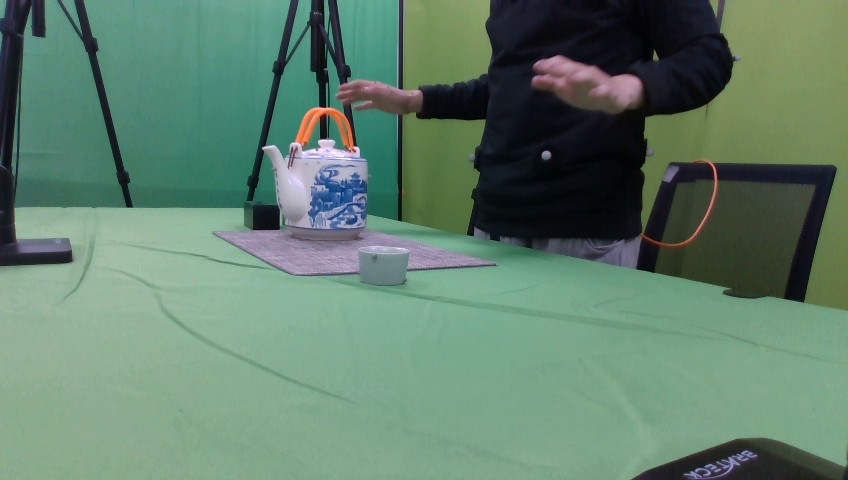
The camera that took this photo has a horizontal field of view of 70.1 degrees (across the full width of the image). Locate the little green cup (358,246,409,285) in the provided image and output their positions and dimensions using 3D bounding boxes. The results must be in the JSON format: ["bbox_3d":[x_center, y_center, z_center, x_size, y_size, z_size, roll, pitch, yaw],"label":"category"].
[{"bbox_3d":[-0.048,0.030,0.707,0.061,0.038,0.061,2,8,0],"label":"little green cup"}]

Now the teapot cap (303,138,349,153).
[{"bbox_3d":[-0.172,-0.156,1.060,0.085,0.044,0.085,-1,6,0],"label":"teapot cap"}]

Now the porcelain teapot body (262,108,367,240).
[{"bbox_3d":[-0.191,-0.115,1.041,0.144,0.225,0.206,8,9,36],"label":"porcelain teapot body"}]
